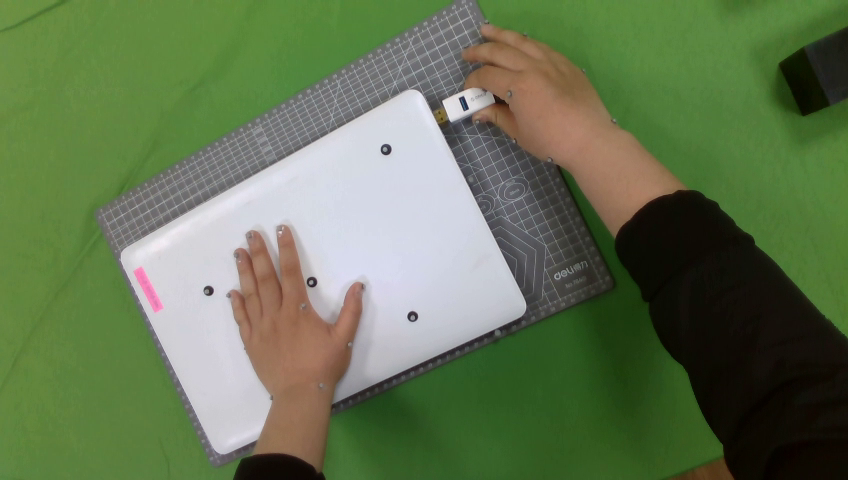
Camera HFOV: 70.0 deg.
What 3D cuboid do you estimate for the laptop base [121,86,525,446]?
[{"bbox_3d":[-0.108,0.034,0.596,0.354,0.023,0.235,-27,93,11],"label":"laptop base"}]

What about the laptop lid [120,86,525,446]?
[{"bbox_3d":[-0.109,0.036,0.586,0.356,0.013,0.241,-25,92,11],"label":"laptop lid"}]

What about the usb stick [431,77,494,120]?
[{"bbox_3d":[0.033,-0.125,0.547,0.059,0.027,0.021,-22,93,11],"label":"usb stick"}]
